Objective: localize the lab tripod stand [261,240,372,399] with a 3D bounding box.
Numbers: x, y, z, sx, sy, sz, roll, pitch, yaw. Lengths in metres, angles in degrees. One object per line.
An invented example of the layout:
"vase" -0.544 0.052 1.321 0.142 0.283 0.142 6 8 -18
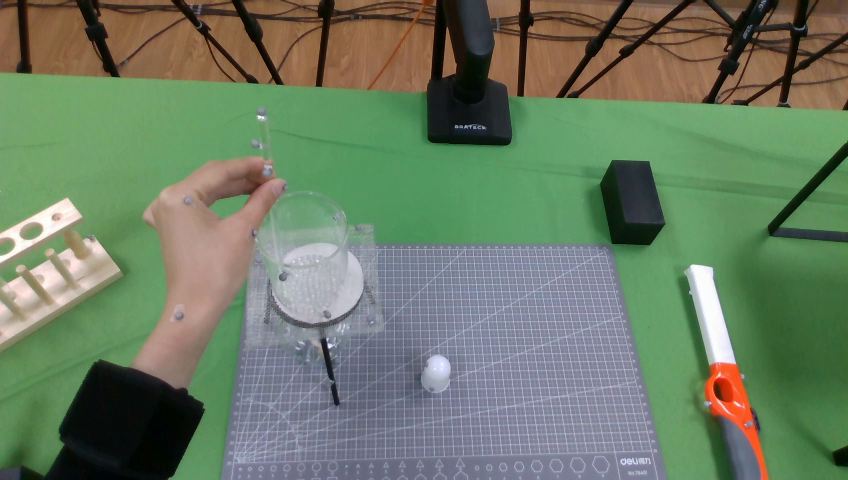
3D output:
"lab tripod stand" -0.107 0.075 0.623 0.148 0.132 0.147 3 58 -5

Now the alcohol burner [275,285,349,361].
"alcohol burner" -0.118 0.079 0.631 0.078 0.120 0.077 3 56 -5

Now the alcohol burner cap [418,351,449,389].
"alcohol burner cap" 0.011 0.138 0.649 0.034 0.048 0.033 2 59 -3

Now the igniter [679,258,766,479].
"igniter" 0.333 0.144 0.685 0.057 0.025 0.274 8 58 -12

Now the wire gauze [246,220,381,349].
"wire gauze" -0.106 0.036 0.570 0.121 0.011 0.124 -5 62 -6

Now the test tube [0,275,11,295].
"test tube" -0.453 0.013 0.604 0.017 0.151 0.017 3 53 -3

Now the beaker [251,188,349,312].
"beaker" -0.106 0.012 0.527 0.084 0.101 0.073 22 59 8

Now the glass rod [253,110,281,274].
"glass rod" -0.124 -0.027 0.484 0.008 0.201 0.008 4 54 -6

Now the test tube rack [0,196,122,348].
"test tube rack" -0.458 0.062 0.632 0.242 0.086 0.066 -37 68 -24
